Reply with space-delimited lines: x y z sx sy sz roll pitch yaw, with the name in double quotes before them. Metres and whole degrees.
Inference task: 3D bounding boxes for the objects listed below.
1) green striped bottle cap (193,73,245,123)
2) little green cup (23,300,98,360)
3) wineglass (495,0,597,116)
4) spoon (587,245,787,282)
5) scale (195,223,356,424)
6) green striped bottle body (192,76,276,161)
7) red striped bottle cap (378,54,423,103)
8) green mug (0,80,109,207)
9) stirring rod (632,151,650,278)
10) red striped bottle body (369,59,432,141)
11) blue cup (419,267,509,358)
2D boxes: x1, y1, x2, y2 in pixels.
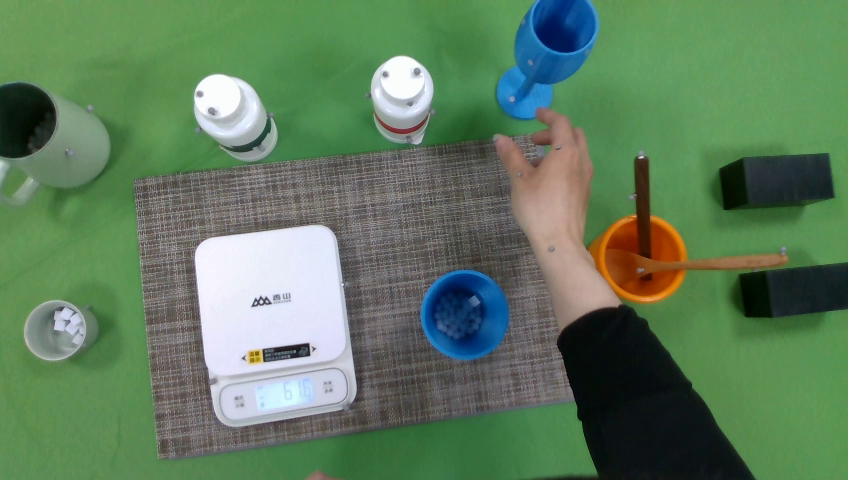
"green striped bottle cap" -0.191 -0.132 0.564 0.044 0.020 0.044 0 84 -2
"little green cup" -0.373 0.093 0.627 0.061 0.038 0.061 0 84 -4
"wineglass" 0.118 -0.184 0.617 0.074 0.172 0.073 0 84 -3
"spoon" 0.259 0.022 0.618 0.022 0.192 0.041 -9 93 -47
"scale" -0.157 0.087 0.641 0.149 0.031 0.200 -8 85 -4
"green striped bottle body" -0.194 -0.125 0.619 0.063 0.119 0.063 0 84 -3
"red striped bottle cap" -0.022 -0.154 0.578 0.044 0.018 0.044 0 82 -2
"green mug" -0.392 -0.091 0.612 0.092 0.105 0.125 28 83 0
"stirring rod" 0.222 -0.019 0.618 0.014 0.178 0.006 6 50 26
"red striped bottle body" -0.025 -0.149 0.632 0.063 0.120 0.063 0 84 -3
"blue cup" 0.037 0.073 0.619 0.093 0.100 0.092 0 85 -1
